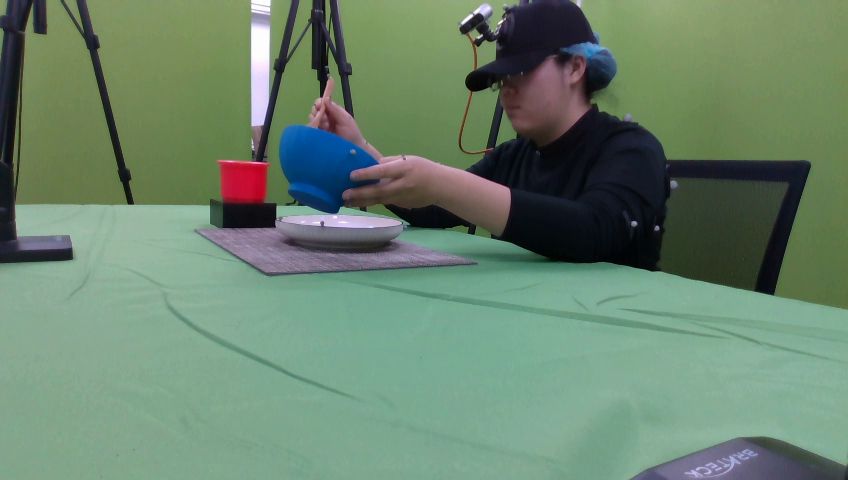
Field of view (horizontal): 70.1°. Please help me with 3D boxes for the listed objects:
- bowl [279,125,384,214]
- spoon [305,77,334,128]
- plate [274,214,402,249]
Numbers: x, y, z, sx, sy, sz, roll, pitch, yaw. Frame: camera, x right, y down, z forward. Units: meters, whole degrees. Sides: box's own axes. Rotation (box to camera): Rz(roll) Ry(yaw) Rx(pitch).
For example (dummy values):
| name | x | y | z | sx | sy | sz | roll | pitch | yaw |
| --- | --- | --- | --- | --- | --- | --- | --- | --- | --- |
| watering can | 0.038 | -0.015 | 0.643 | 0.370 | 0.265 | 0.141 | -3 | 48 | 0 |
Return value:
| name | x | y | z | sx | sy | sz | roll | pitch | yaw |
| --- | --- | --- | --- | --- | --- | --- | --- | --- | --- |
| bowl | -0.139 | -0.086 | 0.834 | 0.151 | 0.077 | 0.151 | 19 | -14 | 5 |
| spoon | -0.192 | -0.233 | 1.103 | 0.021 | 0.193 | 0.042 | -19 | -47 | 41 |
| plate | -0.140 | -0.015 | 0.993 | 0.208 | 0.039 | 0.207 | 3 | 8 | 0 |
